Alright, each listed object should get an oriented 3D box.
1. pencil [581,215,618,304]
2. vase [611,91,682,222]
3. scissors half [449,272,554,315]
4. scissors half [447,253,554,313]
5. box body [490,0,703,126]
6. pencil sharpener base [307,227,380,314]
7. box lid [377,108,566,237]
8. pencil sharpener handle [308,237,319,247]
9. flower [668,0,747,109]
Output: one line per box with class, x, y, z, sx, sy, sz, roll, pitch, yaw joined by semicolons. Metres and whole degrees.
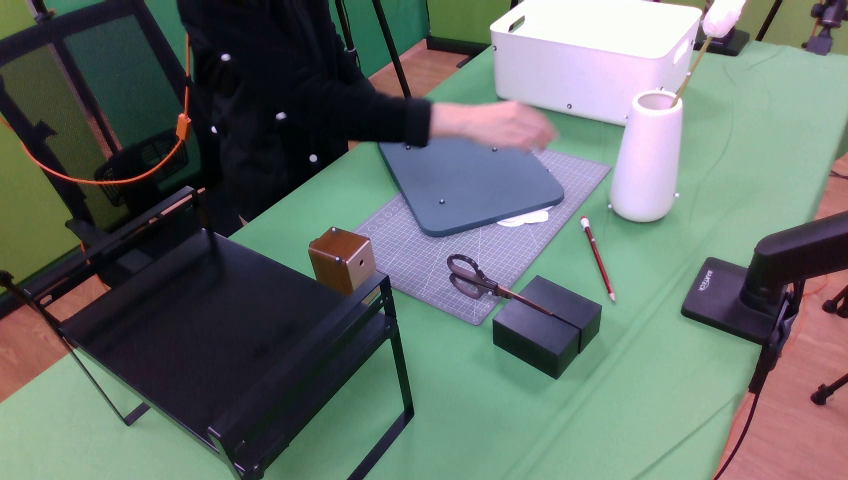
pencil;0.266;0.025;0.916;0.012;0.012;0.193;-6;41;1
vase;0.348;-0.125;0.935;0.098;0.201;0.097;-3;40;3
scissors half;0.104;0.076;0.834;0.173;0.040;0.013;15;47;42
scissors half;0.101;0.060;0.822;0.174;0.040;0.013;29;49;29
box body;0.352;-0.384;1.268;0.361;0.161;0.255;21;48;29
pencil sharpener base;-0.116;0.043;0.875;0.076;0.107;0.061;18;47;28
box lid;0.074;-0.141;1.136;0.264;0.015;0.368;-16;40;-10
pencil sharpener handle;-0.158;0.017;0.892;0.030;0.068;0.036;18;61;28
flower;0.355;-0.187;0.879;0.038;0.362;0.044;30;48;14
